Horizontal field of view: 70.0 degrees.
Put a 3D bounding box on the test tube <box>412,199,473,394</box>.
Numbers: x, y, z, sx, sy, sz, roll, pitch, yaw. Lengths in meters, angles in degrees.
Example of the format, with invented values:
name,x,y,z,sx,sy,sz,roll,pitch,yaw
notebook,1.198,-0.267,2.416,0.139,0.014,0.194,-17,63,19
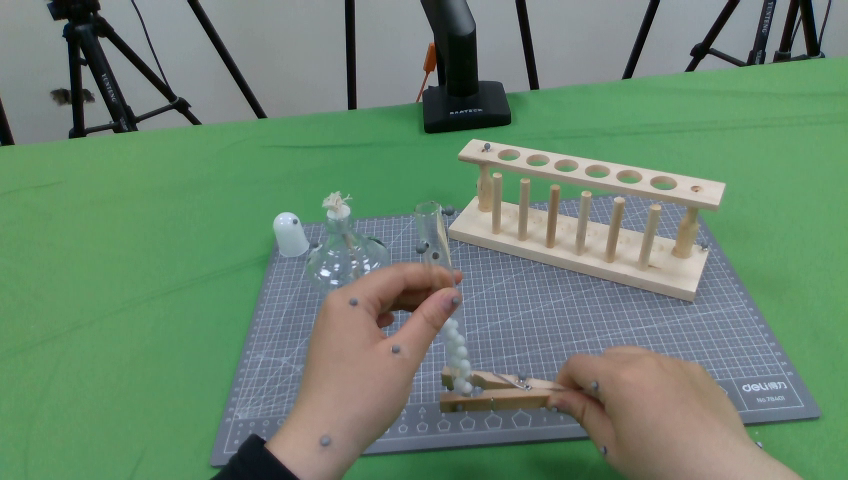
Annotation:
name,x,y,z,sx,sy,sz,roll,pitch,yaw
test tube,0.014,0.042,0.377,0.017,0.151,0.017,-8,33,6

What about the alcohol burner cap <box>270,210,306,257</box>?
name,x,y,z,sx,sy,sz,roll,pitch,yaw
alcohol burner cap,-0.144,-0.010,0.636,0.034,0.048,0.033,-3,40,3

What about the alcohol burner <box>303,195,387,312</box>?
name,x,y,z,sx,sy,sz,roll,pitch,yaw
alcohol burner,-0.074,0.007,0.546,0.078,0.120,0.077,-3,40,3

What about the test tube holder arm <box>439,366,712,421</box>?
name,x,y,z,sx,sy,sz,roll,pitch,yaw
test tube holder arm,0.098,0.103,0.407,0.178,0.015,0.013,4,46,11

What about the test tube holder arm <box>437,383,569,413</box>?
name,x,y,z,sx,sy,sz,roll,pitch,yaw
test tube holder arm,0.053,0.106,0.410,0.088,0.015,0.010,-6,44,2

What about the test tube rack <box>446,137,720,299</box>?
name,x,y,z,sx,sy,sz,roll,pitch,yaw
test tube rack,0.139,-0.027,0.578,0.241,0.086,0.066,15,44,26
